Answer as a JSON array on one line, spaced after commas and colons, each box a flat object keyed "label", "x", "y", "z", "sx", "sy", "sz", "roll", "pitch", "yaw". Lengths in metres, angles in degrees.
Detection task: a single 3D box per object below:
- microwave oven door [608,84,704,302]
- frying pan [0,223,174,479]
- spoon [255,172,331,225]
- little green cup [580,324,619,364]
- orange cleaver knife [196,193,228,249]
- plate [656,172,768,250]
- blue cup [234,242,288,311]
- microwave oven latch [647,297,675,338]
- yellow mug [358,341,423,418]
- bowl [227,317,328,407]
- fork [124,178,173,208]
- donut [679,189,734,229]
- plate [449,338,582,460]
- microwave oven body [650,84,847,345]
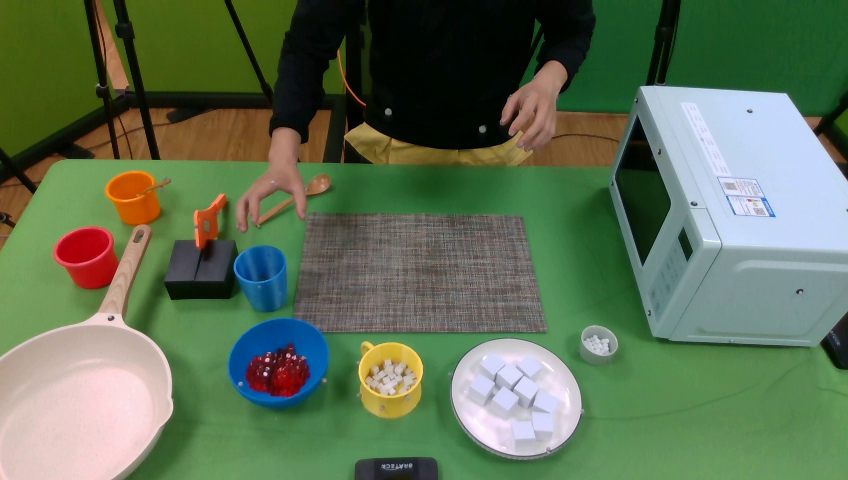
[{"label": "microwave oven door", "x": 0.424, "y": -0.096, "z": 1.138, "sx": 0.039, "sy": 0.245, "sz": 0.353, "roll": 2, "pitch": 46, "yaw": -1}, {"label": "frying pan", "x": -0.504, "y": 0.169, "z": 0.941, "sx": 0.307, "sy": 0.103, "sz": 0.485, "roll": 5, "pitch": 54, "yaw": -1}, {"label": "spoon", "x": -0.272, "y": -0.087, "z": 1.256, "sx": 0.041, "sy": 0.022, "sz": 0.193, "roll": 43, "pitch": 57, "yaw": 16}, {"label": "little green cup", "x": 0.296, "y": 0.179, "z": 1.031, "sx": 0.061, "sy": 0.039, "sz": 0.061, "roll": 2, "pitch": 45, "yaw": -2}, {"label": "orange cleaver knife", "x": -0.406, "y": -0.041, "z": 1.163, "sx": 0.012, "sy": 0.077, "sz": 0.210, "roll": 0, "pitch": 17, "yaw": -3}, {"label": "plate", "x": 0.557, "y": -0.053, "z": 1.186, "sx": 0.209, "sy": 0.038, "sz": 0.208, "roll": 2, "pitch": 45, "yaw": -2}, {"label": "blue cup", "x": -0.276, "y": 0.071, "z": 1.052, "sx": 0.093, "sy": 0.101, "sz": 0.092, "roll": 1, "pitch": 48, "yaw": -1}, {"label": "microwave oven latch", "x": 0.413, "y": 0.133, "z": 1.060, "sx": 0.030, "sy": 0.029, "sz": 0.078, "roll": 5, "pitch": 46, "yaw": 2}, {"label": "yellow mug", "x": -0.063, "y": 0.210, "z": 0.961, "sx": 0.100, "sy": 0.064, "sz": 0.130, "roll": -29, "pitch": 54, "yaw": -28}, {"label": "bowl", "x": -0.222, "y": 0.203, "z": 0.947, "sx": 0.151, "sy": 0.077, "sz": 0.150, "roll": 2, "pitch": 46, "yaw": -2}, {"label": "fork", "x": -0.525, "y": -0.090, "z": 1.153, "sx": 0.207, "sy": 0.019, "sz": 0.028, "roll": -17, "pitch": 28, "yaw": 45}, {"label": "donut", "x": 0.545, "y": -0.062, "z": 1.175, "sx": 0.099, "sy": 0.048, "sz": 0.098, "roll": 0, "pitch": 45, "yaw": 0}, {"label": "plate", "x": 0.141, "y": 0.251, "z": 0.955, "sx": 0.208, "sy": 0.039, "sz": 0.206, "roll": 2, "pitch": 46, "yaw": -2}, {"label": "microwave oven body", "x": 0.569, "y": -0.054, "z": 1.116, "sx": 0.326, "sy": 0.261, "sz": 0.439, "roll": 2, "pitch": 46, "yaw": -1}]
